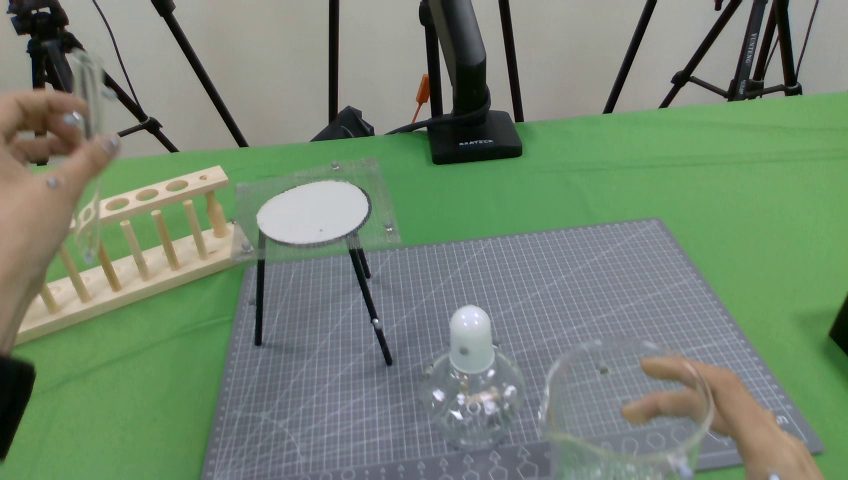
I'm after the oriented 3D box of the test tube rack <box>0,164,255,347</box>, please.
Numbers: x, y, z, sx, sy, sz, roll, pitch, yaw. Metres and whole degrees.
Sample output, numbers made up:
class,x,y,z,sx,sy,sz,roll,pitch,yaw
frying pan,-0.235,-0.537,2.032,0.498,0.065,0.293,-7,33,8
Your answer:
class,x,y,z,sx,sy,sz,roll,pitch,yaw
test tube rack,-0.305,0.009,0.606,0.243,0.086,0.066,-22,41,-22

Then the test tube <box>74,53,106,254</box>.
class,x,y,z,sx,sy,sz,roll,pitch,yaw
test tube,-0.217,-0.049,0.393,0.017,0.151,0.017,16,35,-11

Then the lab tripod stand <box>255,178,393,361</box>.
class,x,y,z,sx,sy,sz,roll,pitch,yaw
lab tripod stand,-0.085,0.026,0.518,0.148,0.133,0.147,-3,39,3

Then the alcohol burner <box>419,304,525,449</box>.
class,x,y,z,sx,sy,sz,roll,pitch,yaw
alcohol burner,0.035,0.094,0.435,0.078,0.120,0.077,-2,36,2

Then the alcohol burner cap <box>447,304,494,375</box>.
class,x,y,z,sx,sy,sz,roll,pitch,yaw
alcohol burner cap,0.031,0.065,0.413,0.034,0.048,0.033,-4,39,3

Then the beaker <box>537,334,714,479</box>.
class,x,y,z,sx,sy,sz,roll,pitch,yaw
beaker,0.097,0.111,0.308,0.084,0.101,0.073,-17,36,-12

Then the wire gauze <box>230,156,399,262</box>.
class,x,y,z,sx,sy,sz,roll,pitch,yaw
wire gauze,-0.090,-0.027,0.477,0.125,0.011,0.120,-10,38,-7
